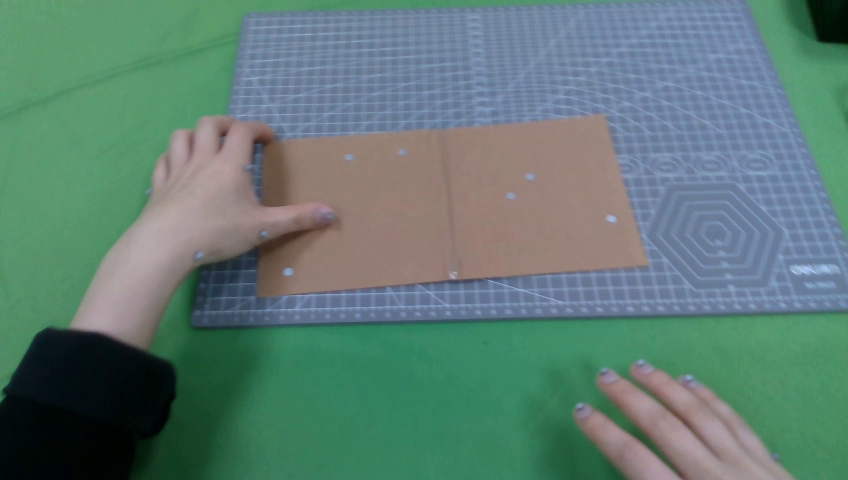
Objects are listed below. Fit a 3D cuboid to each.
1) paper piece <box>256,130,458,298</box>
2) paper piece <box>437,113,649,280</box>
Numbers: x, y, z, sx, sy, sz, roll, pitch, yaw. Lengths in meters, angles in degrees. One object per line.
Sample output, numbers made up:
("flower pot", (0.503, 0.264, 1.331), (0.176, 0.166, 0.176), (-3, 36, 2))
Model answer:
("paper piece", (-0.050, -0.025, 0.440), (0.138, 0.009, 0.134), (-5, 57, 0))
("paper piece", (0.082, -0.036, 0.442), (0.136, 0.004, 0.134), (-4, 61, -1))
